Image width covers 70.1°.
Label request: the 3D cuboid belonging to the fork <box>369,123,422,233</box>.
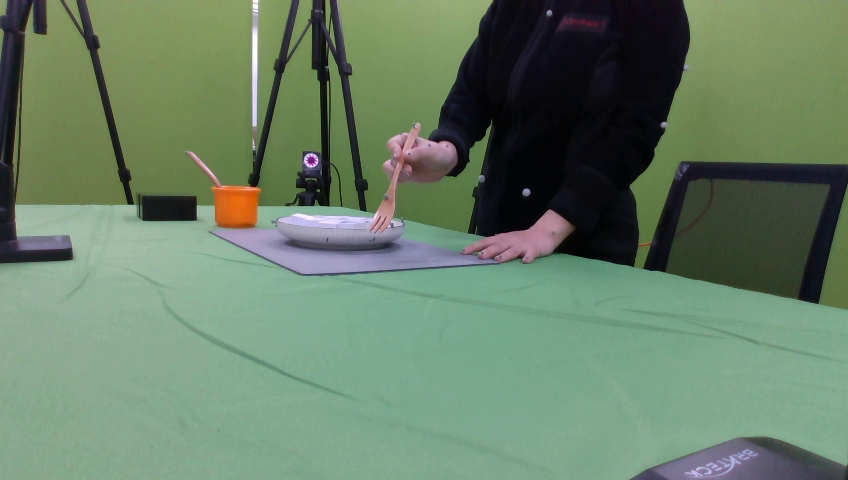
[{"bbox_3d":[-0.037,-0.094,0.877,0.028,0.207,0.019,6,-29,22],"label":"fork"}]

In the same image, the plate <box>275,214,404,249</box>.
[{"bbox_3d":[-0.135,-0.013,0.982,0.208,0.039,0.207,3,7,0],"label":"plate"}]

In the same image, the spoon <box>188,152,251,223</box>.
[{"bbox_3d":[-0.400,-0.103,1.178,0.021,0.193,0.042,-43,-11,28],"label":"spoon"}]
